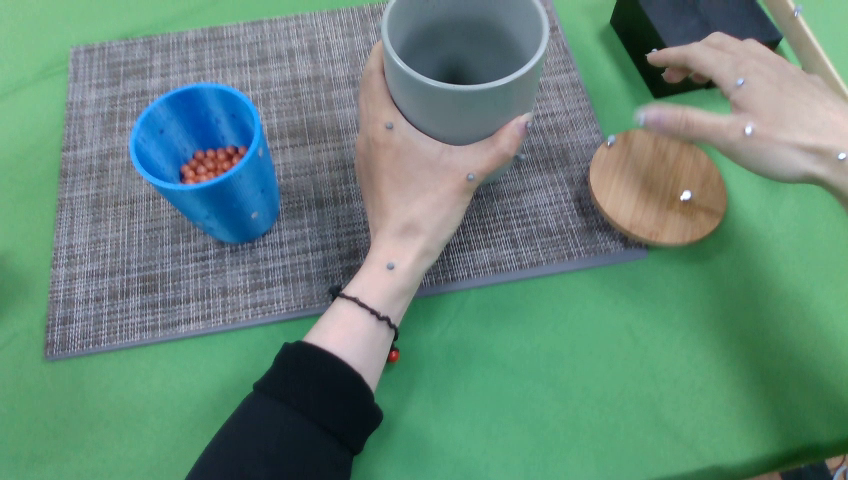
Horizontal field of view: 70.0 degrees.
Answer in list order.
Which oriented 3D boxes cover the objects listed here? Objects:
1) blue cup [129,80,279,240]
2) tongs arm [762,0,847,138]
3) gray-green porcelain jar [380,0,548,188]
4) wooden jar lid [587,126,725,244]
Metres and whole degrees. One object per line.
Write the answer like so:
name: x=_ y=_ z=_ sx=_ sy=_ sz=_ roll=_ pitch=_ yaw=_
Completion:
blue cup: x=-0.147 y=-0.048 z=0.437 sx=0.092 sy=0.101 sz=0.092 roll=0 pitch=64 yaw=1
tongs arm: x=0.376 y=-0.097 z=0.505 sx=0.051 sy=0.027 sz=0.381 roll=-6 pitch=63 yaw=-11
gray-green porcelain jar: x=0.026 y=-0.106 z=0.432 sx=0.106 sy=0.127 sz=0.105 roll=0 pitch=63 yaw=0
wooden jar lid: x=0.182 y=-0.043 z=0.483 sx=0.108 sy=0.021 sz=0.107 roll=2 pitch=61 yaw=-2
